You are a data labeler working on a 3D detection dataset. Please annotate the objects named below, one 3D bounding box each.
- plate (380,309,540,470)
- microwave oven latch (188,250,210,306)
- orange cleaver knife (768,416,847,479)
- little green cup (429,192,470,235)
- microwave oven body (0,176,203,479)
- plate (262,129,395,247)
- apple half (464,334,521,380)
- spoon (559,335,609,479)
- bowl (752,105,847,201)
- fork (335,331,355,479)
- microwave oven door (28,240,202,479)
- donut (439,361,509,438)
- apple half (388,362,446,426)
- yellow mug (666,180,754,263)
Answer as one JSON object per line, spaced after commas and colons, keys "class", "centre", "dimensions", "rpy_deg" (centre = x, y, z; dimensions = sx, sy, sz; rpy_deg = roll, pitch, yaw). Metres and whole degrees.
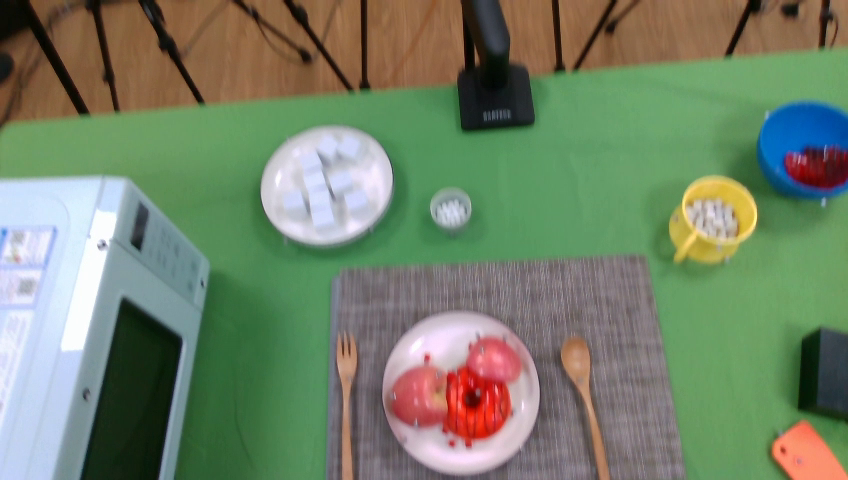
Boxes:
{"class": "plate", "centre": [0.047, 0.195, 0.798], "dimensions": [0.209, 0.038, 0.207], "rpy_deg": [-2, 65, 4]}
{"class": "microwave oven latch", "centre": [-0.332, 0.055, 0.878], "dimensions": [0.030, 0.030, 0.078], "rpy_deg": [1, 66, 5]}
{"class": "orange cleaver knife", "centre": [0.488, 0.317, 0.718], "dimensions": [0.077, 0.012, 0.209], "rpy_deg": [-15, 63, -8]}
{"class": "little green cup", "centre": [0.040, -0.038, 0.912], "dimensions": [0.061, 0.039, 0.061], "rpy_deg": [-2, 65, 4]}
{"class": "microwave oven body", "centre": [-0.491, 0.176, 0.727], "dimensions": [0.326, 0.262, 0.438], "rpy_deg": [-1, 65, 4]}
{"class": "plate", "centre": [-0.146, -0.079, 0.947], "dimensions": [0.207, 0.039, 0.206], "rpy_deg": [-2, 65, 4]}
{"class": "apple half", "centre": [0.094, 0.146, 0.788], "dimensions": [0.081, 0.033, 0.080], "rpy_deg": [11, 27, -6]}
{"class": "spoon", "centre": [0.210, 0.218, 0.782], "dimensions": [0.042, 0.022, 0.192], "rpy_deg": [1, 62, -20]}
{"class": "bowl", "centre": [0.548, -0.113, 0.883], "dimensions": [0.151, 0.077, 0.150], "rpy_deg": [-2, 66, 5]}
{"class": "fork", "centre": [-0.105, 0.222, 0.808], "dimensions": [0.028, 0.019, 0.205], "rpy_deg": [-3, 62, -3]}
{"class": "microwave oven door", "centre": [-0.347, 0.209, 0.694], "dimensions": [0.039, 0.246, 0.353], "rpy_deg": [-1, 64, 4]}
{"class": "donut", "centre": [0.060, 0.204, 0.780], "dimensions": [0.099, 0.048, 0.098], "rpy_deg": [-2, 67, 5]}
{"class": "apple half", "centre": [-0.013, 0.193, 0.769], "dimensions": [0.074, 0.054, 0.080], "rpy_deg": [-22, 55, 40]}
{"class": "yellow mug", "centre": [0.393, -0.016, 0.857], "dimensions": [0.131, 0.064, 0.099], "rpy_deg": [-43, 69, -13]}
